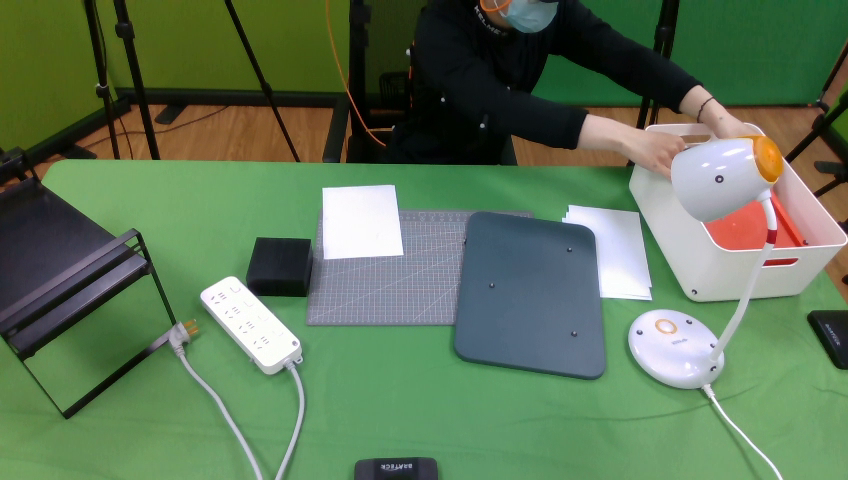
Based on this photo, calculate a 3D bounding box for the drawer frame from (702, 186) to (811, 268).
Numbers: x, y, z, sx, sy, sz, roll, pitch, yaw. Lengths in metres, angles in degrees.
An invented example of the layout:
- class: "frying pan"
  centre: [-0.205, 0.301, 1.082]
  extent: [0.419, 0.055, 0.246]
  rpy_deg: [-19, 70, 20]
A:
- class: "drawer frame"
  centre: [0.582, -0.025, 1.160]
  extent: [0.202, 0.083, 0.212]
  rpy_deg: [-12, 53, 2]

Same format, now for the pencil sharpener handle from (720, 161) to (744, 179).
- class: "pencil sharpener handle"
  centre: [0.667, -0.147, 1.298]
  extent: [0.031, 0.068, 0.036]
  rpy_deg: [-8, 81, -12]

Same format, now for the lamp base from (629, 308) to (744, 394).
- class: "lamp base"
  centre: [0.445, 0.139, 0.987]
  extent: [0.161, 0.181, 0.178]
  rpy_deg: [-18, 53, -20]

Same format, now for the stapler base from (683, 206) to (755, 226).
- class: "stapler base"
  centre: [0.588, -0.052, 1.205]
  extent: [0.130, 0.024, 0.041]
  rpy_deg: [2, 55, 12]

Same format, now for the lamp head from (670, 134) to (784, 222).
- class: "lamp head"
  centre: [0.421, -0.089, 0.829]
  extent: [0.113, 0.123, 0.112]
  rpy_deg: [8, 74, -32]

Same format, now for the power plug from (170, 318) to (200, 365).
- class: "power plug"
  centre: [-0.392, 0.167, 1.013]
  extent: [0.052, 0.035, 0.072]
  rpy_deg: [-31, 89, -23]

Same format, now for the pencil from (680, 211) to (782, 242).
- class: "pencil"
  centre: [0.598, -0.029, 1.185]
  extent: [0.194, 0.012, 0.012]
  rpy_deg: [18, 48, 11]

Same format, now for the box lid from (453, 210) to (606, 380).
- class: "box lid"
  centre: [0.200, 0.085, 1.138]
  extent: [0.263, 0.015, 0.369]
  rpy_deg: [8, 47, 3]

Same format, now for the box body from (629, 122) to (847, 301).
- class: "box body"
  centre: [0.593, -0.062, 1.202]
  extent: [0.254, 0.161, 0.361]
  rpy_deg: [-3, 47, -7]

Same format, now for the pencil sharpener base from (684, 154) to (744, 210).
- class: "pencil sharpener base"
  centre: [0.618, -0.124, 1.293]
  extent: [0.077, 0.107, 0.061]
  rpy_deg: [-8, 47, -12]

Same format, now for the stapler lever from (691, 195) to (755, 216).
- class: "stapler lever"
  centre: [0.585, -0.067, 1.186]
  extent: [0.118, 0.040, 0.026]
  rpy_deg: [1, 55, 13]

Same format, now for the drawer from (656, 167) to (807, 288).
- class: "drawer"
  centre: [0.581, -0.025, 1.164]
  extent: [0.194, 0.073, 0.210]
  rpy_deg: [-11, 53, 3]

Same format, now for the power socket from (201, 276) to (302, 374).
- class: "power socket"
  centre: [-0.298, 0.141, 1.034]
  extent: [0.072, 0.033, 0.225]
  rpy_deg: [-34, 58, -30]
